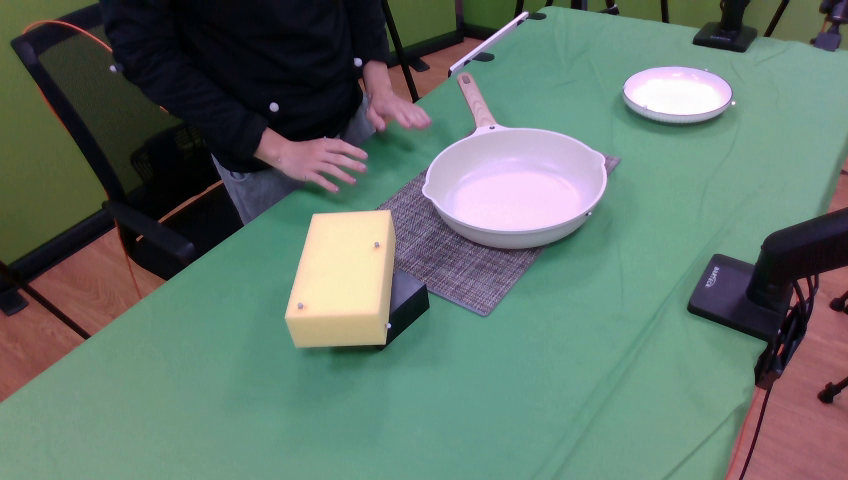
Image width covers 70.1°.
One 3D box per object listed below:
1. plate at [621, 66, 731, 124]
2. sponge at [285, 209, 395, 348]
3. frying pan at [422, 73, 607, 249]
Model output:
[{"bbox_3d":[0.504,-0.288,1.221,0.207,0.039,0.206,-4,41,4],"label":"plate"},{"bbox_3d":[-0.107,0.047,0.823,0.118,0.061,0.206,-4,41,4],"label":"sponge"},{"bbox_3d":[0.130,-0.161,1.069,0.307,0.103,0.484,-10,49,-5],"label":"frying pan"}]
